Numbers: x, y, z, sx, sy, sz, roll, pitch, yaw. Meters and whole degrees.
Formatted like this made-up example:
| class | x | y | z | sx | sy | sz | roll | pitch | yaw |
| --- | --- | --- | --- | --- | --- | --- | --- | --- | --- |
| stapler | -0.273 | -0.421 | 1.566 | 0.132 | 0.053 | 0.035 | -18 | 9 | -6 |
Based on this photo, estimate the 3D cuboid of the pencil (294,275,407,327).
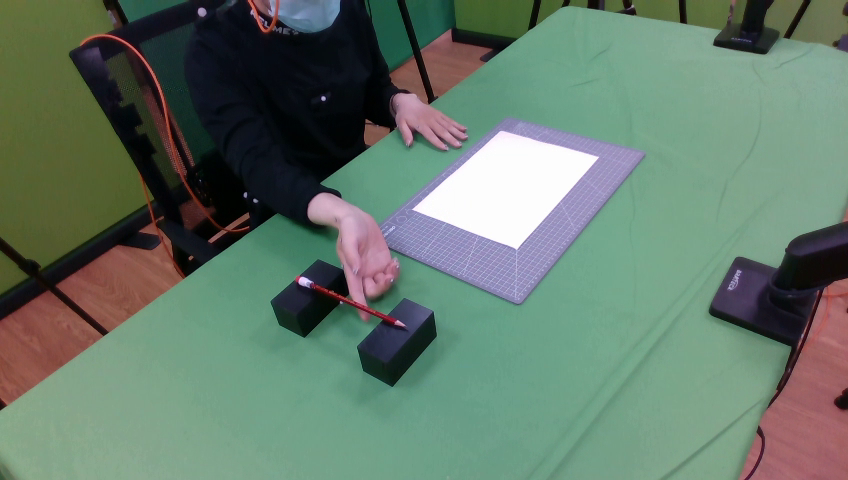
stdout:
| class | x | y | z | sx | sy | sz | roll | pitch | yaw |
| --- | --- | --- | --- | --- | --- | --- | --- | --- | --- |
| pencil | -0.103 | 0.083 | 0.820 | 0.192 | 0.012 | 0.012 | 20 | 47 | 27 |
